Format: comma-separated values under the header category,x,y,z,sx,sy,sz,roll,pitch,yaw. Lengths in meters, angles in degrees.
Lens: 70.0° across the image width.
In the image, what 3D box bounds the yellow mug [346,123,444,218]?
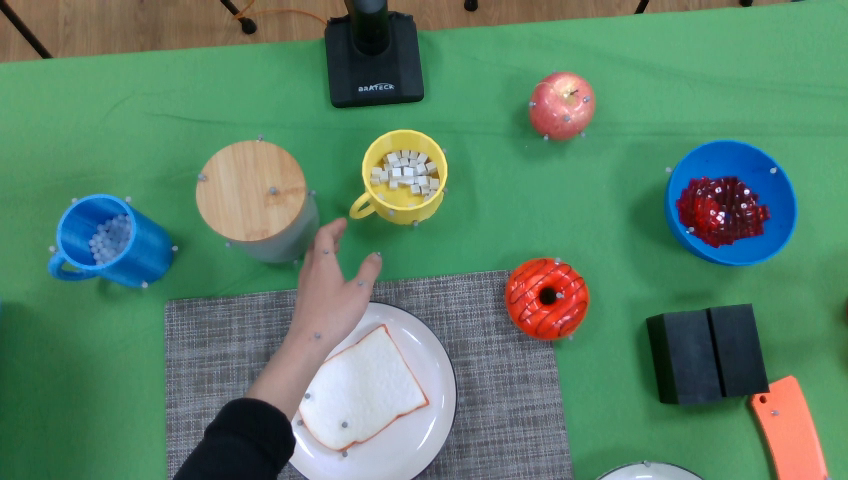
category,x,y,z,sx,sy,sz,roll,pitch,yaw
yellow mug,-0.039,-0.073,0.724,0.131,0.064,0.099,-36,81,-9

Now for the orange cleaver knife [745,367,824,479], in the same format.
category,x,y,z,sx,sy,sz,roll,pitch,yaw
orange cleaver knife,0.423,0.255,0.696,0.077,0.012,0.210,-3,77,-10

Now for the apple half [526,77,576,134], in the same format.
category,x,y,z,sx,sy,sz,roll,pitch,yaw
apple half,0.147,-0.156,0.744,0.033,0.081,0.081,-38,81,-15

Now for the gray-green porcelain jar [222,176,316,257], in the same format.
category,x,y,z,sx,sy,sz,roll,pitch,yaw
gray-green porcelain jar,-0.179,-0.040,0.680,0.106,0.127,0.105,1,77,-2

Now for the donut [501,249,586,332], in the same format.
category,x,y,z,sx,sy,sz,roll,pitch,yaw
donut,0.139,0.059,0.710,0.099,0.048,0.098,1,78,-3

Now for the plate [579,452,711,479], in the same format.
category,x,y,z,sx,sy,sz,roll,pitch,yaw
plate,0.243,0.338,0.661,0.209,0.038,0.208,0,78,-2

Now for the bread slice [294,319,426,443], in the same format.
category,x,y,z,sx,sy,sz,roll,pitch,yaw
bread slice,-0.077,0.166,0.682,0.131,0.019,0.104,-31,80,-9

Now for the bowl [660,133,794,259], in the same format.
category,x,y,z,sx,sy,sz,roll,pitch,yaw
bowl,0.347,-0.044,0.727,0.151,0.077,0.150,0,78,-2

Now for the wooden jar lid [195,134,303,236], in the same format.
category,x,y,z,sx,sy,sz,roll,pitch,yaw
wooden jar lid,-0.177,-0.055,0.619,0.108,0.021,0.108,1,76,-2

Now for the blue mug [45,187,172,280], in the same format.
category,x,y,z,sx,sy,sz,roll,pitch,yaw
blue mug,-0.355,0.004,0.673,0.116,0.106,0.082,-30,80,-8

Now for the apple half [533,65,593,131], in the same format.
category,x,y,z,sx,sy,sz,roll,pitch,yaw
apple half,0.177,-0.180,0.752,0.053,0.075,0.080,-37,77,-15

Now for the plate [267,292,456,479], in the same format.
category,x,y,z,sx,sy,sz,roll,pitch,yaw
plate,-0.068,0.163,0.682,0.208,0.039,0.206,1,78,-2
